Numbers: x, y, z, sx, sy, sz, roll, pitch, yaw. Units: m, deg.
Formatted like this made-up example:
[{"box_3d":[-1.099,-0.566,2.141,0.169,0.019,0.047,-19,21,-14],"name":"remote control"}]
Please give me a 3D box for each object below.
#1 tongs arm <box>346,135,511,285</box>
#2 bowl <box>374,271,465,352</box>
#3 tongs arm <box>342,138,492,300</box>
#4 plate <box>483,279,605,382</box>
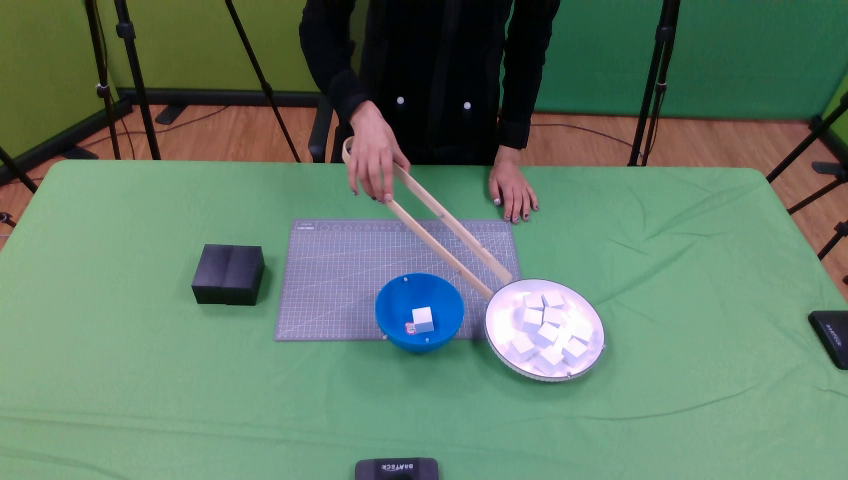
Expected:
[{"box_3d":[0.000,-0.056,1.043,0.051,0.026,0.383,-31,68,-30],"name":"tongs arm"},{"box_3d":[-0.009,0.136,1.024,0.151,0.077,0.150,2,47,-2],"name":"bowl"},{"box_3d":[-0.022,-0.041,1.026,0.028,0.028,0.386,-35,70,-28],"name":"tongs arm"},{"box_3d":[0.204,0.158,1.046,0.208,0.039,0.206,3,47,-3],"name":"plate"}]
